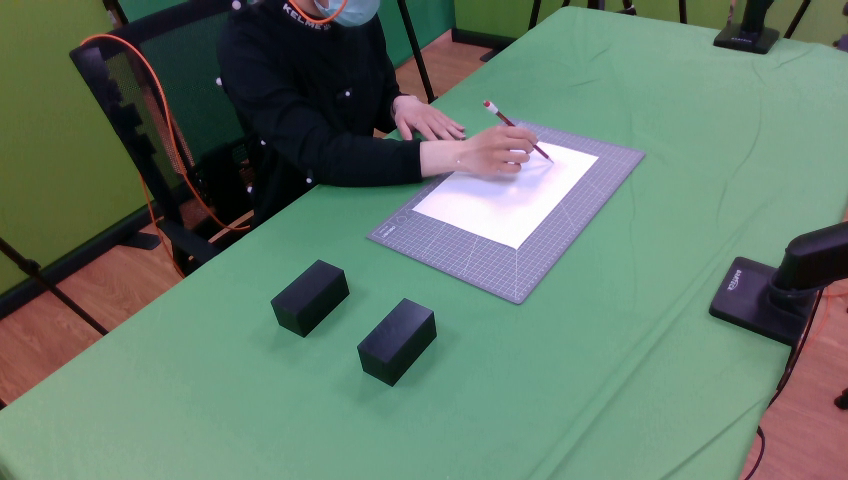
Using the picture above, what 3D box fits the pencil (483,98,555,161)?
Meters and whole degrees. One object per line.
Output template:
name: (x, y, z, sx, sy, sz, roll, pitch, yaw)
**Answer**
pencil: (0.171, -0.190, 1.059, 0.012, 0.196, 0.012, -32, 41, 34)
